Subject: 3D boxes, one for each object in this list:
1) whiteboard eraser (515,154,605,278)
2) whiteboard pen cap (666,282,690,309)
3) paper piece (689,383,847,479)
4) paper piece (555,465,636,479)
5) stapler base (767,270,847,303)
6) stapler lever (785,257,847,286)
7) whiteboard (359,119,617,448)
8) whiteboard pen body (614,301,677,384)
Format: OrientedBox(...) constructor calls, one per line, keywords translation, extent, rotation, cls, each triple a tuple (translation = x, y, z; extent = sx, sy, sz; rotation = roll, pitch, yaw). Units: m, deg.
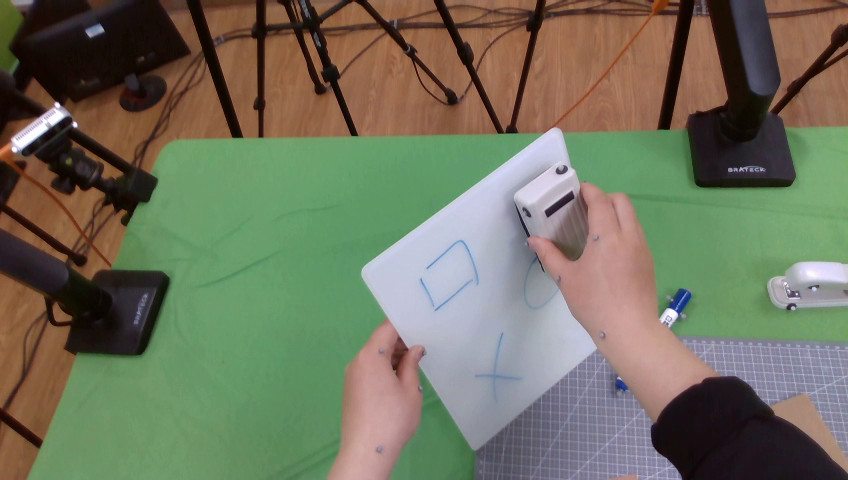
OrientedBox(translation=(0.122, -0.020, 0.545), extent=(0.055, 0.114, 0.041), rotation=(-34, 39, -3), cls="whiteboard eraser")
OrientedBox(translation=(0.299, 0.066, 0.713), extent=(0.018, 0.018, 0.033), rotation=(31, 69, 24), cls="whiteboard pen cap")
OrientedBox(translation=(0.364, 0.232, 0.614), extent=(0.136, 0.009, 0.137), rotation=(-20, 61, 3), cls="paper piece")
OrientedBox(translation=(0.165, 0.306, 0.605), extent=(0.135, 0.004, 0.134), rotation=(-12, 60, 2), cls="paper piece")
OrientedBox(translation=(0.468, 0.047, 0.695), extent=(0.130, 0.024, 0.041), rotation=(-3, 63, 6), cls="stapler base")
OrientedBox(translation=(0.466, 0.035, 0.674), extent=(0.118, 0.040, 0.026), rotation=(-4, 63, 7), cls="stapler lever")
OrientedBox(translation=(0.055, 0.033, 0.645), extent=(0.217, 0.309, 0.142), rotation=(-36, 40, -10), cls="whiteboard")
OrientedBox(translation=(0.262, 0.108, 0.697), extent=(0.017, 0.017, 0.140), rotation=(34, 71, 25), cls="whiteboard pen body")
